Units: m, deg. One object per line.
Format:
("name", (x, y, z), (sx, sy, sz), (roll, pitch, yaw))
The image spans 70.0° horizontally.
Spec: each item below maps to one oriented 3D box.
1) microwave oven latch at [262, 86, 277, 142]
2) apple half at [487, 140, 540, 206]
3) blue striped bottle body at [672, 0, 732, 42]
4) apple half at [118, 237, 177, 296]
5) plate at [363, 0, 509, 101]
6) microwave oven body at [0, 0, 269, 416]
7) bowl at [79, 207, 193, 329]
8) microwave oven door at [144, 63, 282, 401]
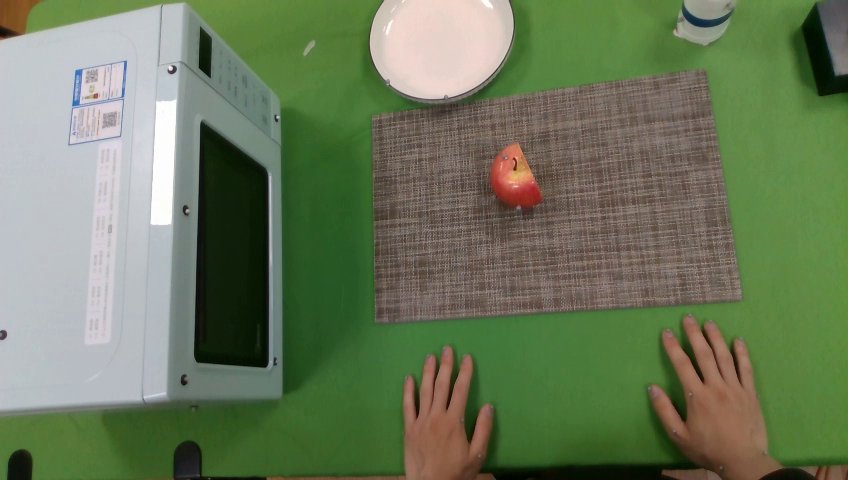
("microwave oven latch", (-0.228, -0.180, 0.868), (0.030, 0.030, 0.078), (-7, 76, 11))
("apple half", (0.108, -0.078, 0.765), (0.053, 0.075, 0.080), (-25, 76, 10))
("blue striped bottle body", (0.346, -0.301, 0.740), (0.063, 0.121, 0.063), (-3, 76, 13))
("apple half", (-0.359, 0.035, 0.776), (0.081, 0.033, 0.081), (0, 89, 5))
("plate", (0.018, -0.288, 0.857), (0.207, 0.039, 0.206), (-3, 77, 12))
("microwave oven body", (-0.383, -0.014, 0.763), (0.325, 0.262, 0.439), (-7, 76, 11))
("bowl", (-0.357, 0.038, 0.786), (0.151, 0.077, 0.151), (-1, 87, 18))
("microwave oven door", (-0.240, 0.008, 0.720), (0.039, 0.245, 0.354), (-7, 75, 12))
